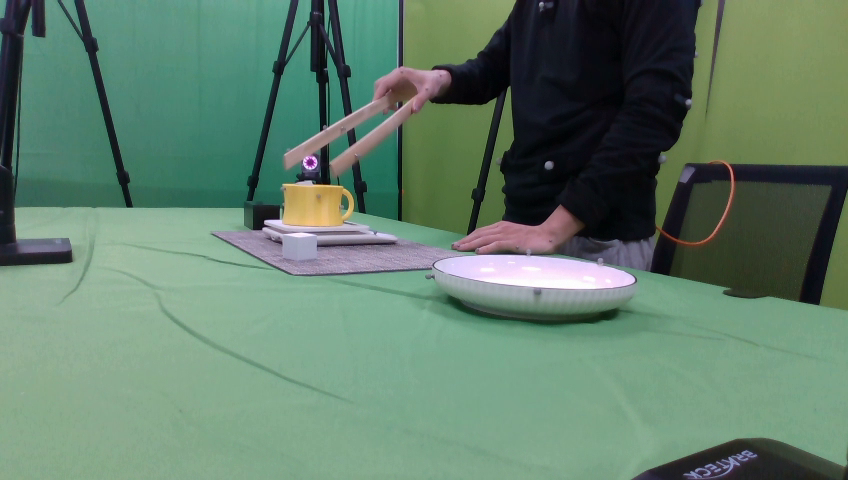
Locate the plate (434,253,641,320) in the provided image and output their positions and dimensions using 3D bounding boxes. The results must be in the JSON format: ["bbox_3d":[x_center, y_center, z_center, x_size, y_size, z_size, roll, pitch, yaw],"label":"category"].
[{"bbox_3d":[0.114,0.047,0.626,0.208,0.039,0.207,2,7,0],"label":"plate"}]

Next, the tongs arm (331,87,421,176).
[{"bbox_3d":[-0.070,-0.193,1.023,0.028,0.028,0.388,2,29,20],"label":"tongs arm"}]

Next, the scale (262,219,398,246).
[{"bbox_3d":[-0.160,-0.016,1.028,0.202,0.031,0.148,-2,9,-32],"label":"scale"}]

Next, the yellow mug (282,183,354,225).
[{"bbox_3d":[-0.172,-0.061,1.009,0.131,0.064,0.099,-2,7,-41],"label":"yellow mug"}]

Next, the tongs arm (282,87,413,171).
[{"bbox_3d":[-0.115,-0.200,1.040,0.050,0.026,0.385,7,31,21],"label":"tongs arm"}]
